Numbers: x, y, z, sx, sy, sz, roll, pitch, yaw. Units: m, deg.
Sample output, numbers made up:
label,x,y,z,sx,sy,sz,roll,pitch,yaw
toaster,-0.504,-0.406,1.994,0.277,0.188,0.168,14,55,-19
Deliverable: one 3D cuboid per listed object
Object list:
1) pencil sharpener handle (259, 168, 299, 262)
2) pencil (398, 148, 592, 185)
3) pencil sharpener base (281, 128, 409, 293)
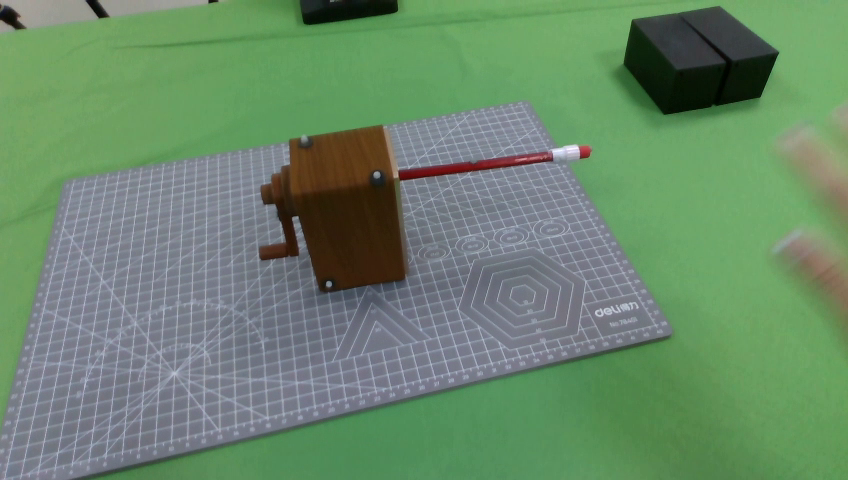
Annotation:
label,x,y,z,sx,sy,sz,roll,pitch,yaw
pencil sharpener handle,-0.106,-0.015,0.422,0.031,0.068,0.035,-10,28,-5
pencil,0.025,-0.048,0.430,0.194,0.012,0.012,-8,46,-6
pencil sharpener base,-0.055,-0.018,0.440,0.077,0.108,0.060,-10,47,-5
